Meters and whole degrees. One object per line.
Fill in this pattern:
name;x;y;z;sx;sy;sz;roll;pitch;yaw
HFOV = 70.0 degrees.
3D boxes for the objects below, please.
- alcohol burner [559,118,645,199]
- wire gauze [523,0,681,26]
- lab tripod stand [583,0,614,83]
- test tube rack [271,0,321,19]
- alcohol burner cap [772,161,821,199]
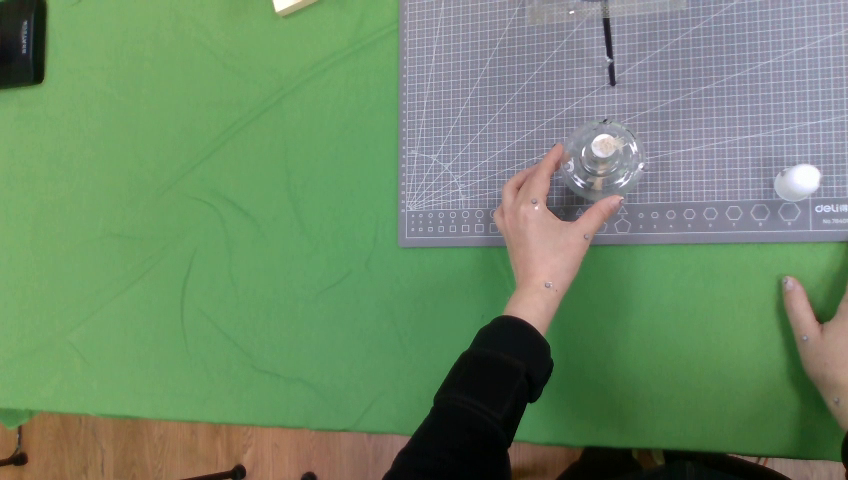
alcohol burner;0.163;-0.077;0.554;0.077;0.119;0.078;-1;86;15
wire gauze;0.140;-0.238;0.490;0.125;0.011;0.121;-1;90;14
lab tripod stand;0.159;-0.233;0.553;0.148;0.132;0.148;-1;88;15
test tube rack;-0.082;-0.334;0.657;0.242;0.085;0.066;-19;82;15
alcohol burner cap;0.334;-0.056;0.540;0.034;0.048;0.034;-1;86;17
